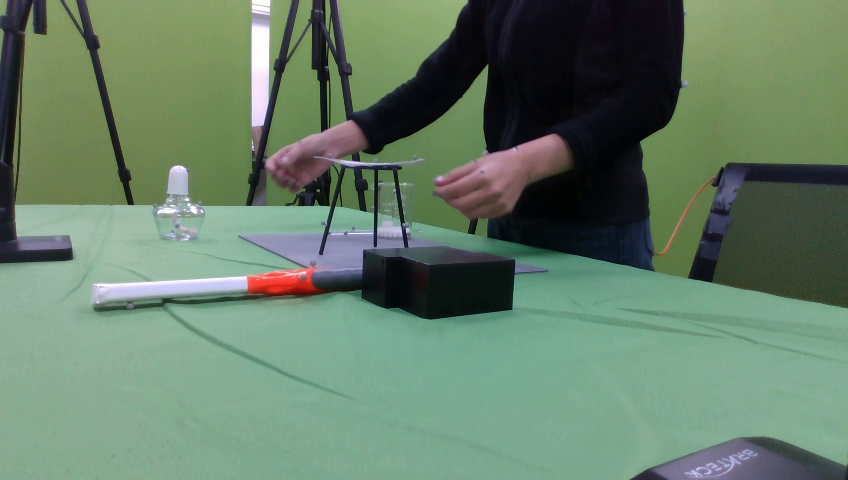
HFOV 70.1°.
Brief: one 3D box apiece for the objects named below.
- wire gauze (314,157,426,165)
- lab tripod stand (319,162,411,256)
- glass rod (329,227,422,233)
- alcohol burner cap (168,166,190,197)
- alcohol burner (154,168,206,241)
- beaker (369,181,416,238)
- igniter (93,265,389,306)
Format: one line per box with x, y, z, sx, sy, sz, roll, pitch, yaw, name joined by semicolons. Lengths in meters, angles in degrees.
-0.080;-0.113;0.868;0.122;0.011;0.124;-4;10;-36;wire gauze
-0.081;-0.047;0.879;0.148;0.131;0.148;2;9;0;lab tripod stand
-0.087;-0.020;1.148;0.201;0.008;0.008;-3;8;-33;glass rod
-0.392;-0.095;0.970;0.034;0.048;0.034;7;7;-1;alcohol burner cap
-0.393;-0.059;0.974;0.078;0.119;0.078;1;8;0;alcohol burner
-0.058;-0.056;1.090;0.084;0.100;0.074;2;7;0;beaker
-0.164;0.042;0.589;0.278;0.025;0.057;-2;-7;-31;igniter
